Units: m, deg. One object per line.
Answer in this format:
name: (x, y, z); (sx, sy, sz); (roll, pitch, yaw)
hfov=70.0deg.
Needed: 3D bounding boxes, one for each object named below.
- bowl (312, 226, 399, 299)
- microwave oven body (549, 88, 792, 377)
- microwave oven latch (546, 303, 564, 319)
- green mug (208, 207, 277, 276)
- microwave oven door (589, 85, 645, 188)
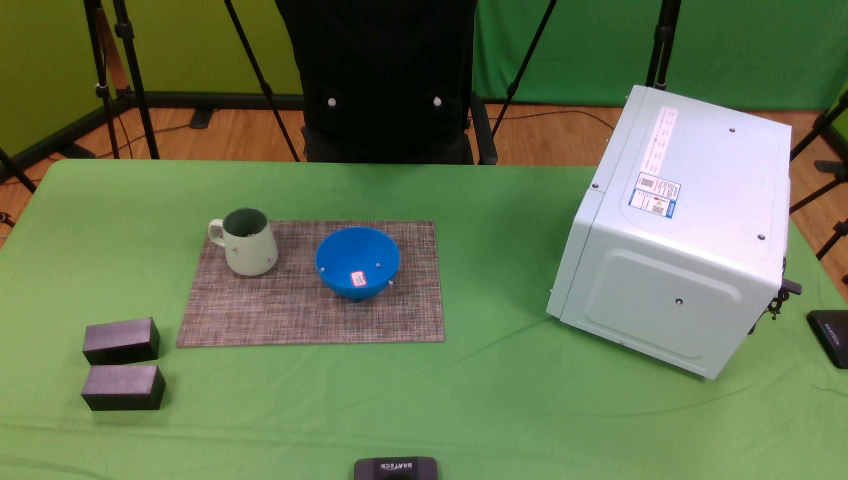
bowl: (-0.120, 0.054, 1.091); (0.151, 0.077, 0.150); (2, 46, -2)
microwave oven body: (0.456, -0.028, 1.088); (0.325, 0.261, 0.440); (20, 47, 16)
microwave oven latch: (0.242, 0.102, 1.081); (0.030, 0.029, 0.079); (21, 48, 17)
green mug: (-0.335, 0.000, 1.108); (0.125, 0.105, 0.092); (14, 47, 9)
microwave oven door: (0.342, -0.107, 1.149); (0.039, 0.245, 0.354); (20, 48, 15)
